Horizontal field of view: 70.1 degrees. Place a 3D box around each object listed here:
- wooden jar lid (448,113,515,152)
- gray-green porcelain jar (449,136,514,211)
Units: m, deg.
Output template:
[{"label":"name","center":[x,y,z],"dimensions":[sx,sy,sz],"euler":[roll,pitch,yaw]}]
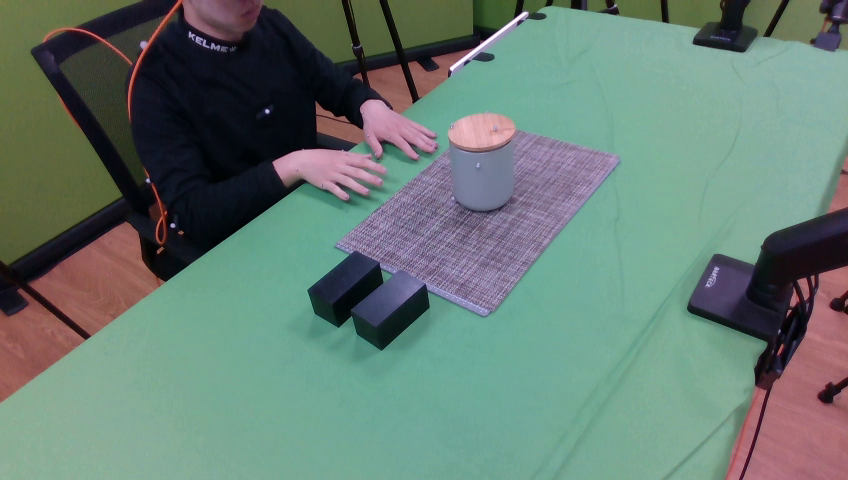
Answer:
[{"label":"wooden jar lid","center":[0.092,-0.168,0.967],"dimensions":[0.108,0.021,0.108],"euler":[-6,39,5]},{"label":"gray-green porcelain jar","center":[0.098,-0.120,1.008],"dimensions":[0.106,0.127,0.105],"euler":[-4,41,4]}]
